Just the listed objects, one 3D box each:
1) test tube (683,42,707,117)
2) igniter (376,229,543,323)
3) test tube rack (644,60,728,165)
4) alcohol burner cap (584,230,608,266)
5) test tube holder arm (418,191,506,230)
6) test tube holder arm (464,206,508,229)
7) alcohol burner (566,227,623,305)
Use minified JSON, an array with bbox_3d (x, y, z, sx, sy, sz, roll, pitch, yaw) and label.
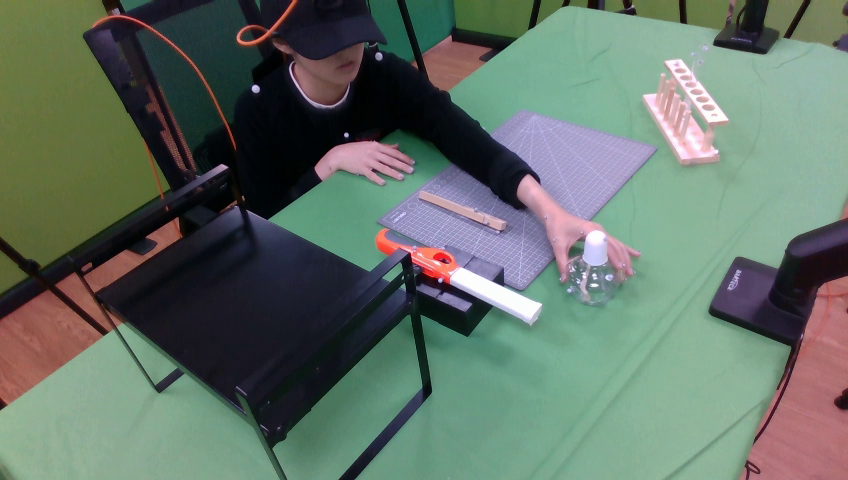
[{"bbox_3d":[0.497,-0.292,1.114,0.017,0.151,0.017,-4,44,4],"label":"test tube"},{"bbox_3d":[0.038,0.044,0.843,0.274,0.025,0.057,25,47,29],"label":"igniter"},{"bbox_3d":[0.486,-0.246,1.139,0.067,0.085,0.241,-5,41,4],"label":"test tube rack"},{"bbox_3d":[0.233,0.007,0.813,0.034,0.048,0.033,-4,40,4],"label":"alcohol burner cap"},{"bbox_3d":[0.061,-0.052,1.024,0.177,0.015,0.013,23,14,31],"label":"test tube holder arm"},{"bbox_3d":[0.100,-0.038,1.005,0.087,0.015,0.010,23,14,31],"label":"test tube holder arm"},{"bbox_3d":[0.235,0.032,0.833,0.078,0.119,0.077,-5,39,4],"label":"alcohol burner"}]
